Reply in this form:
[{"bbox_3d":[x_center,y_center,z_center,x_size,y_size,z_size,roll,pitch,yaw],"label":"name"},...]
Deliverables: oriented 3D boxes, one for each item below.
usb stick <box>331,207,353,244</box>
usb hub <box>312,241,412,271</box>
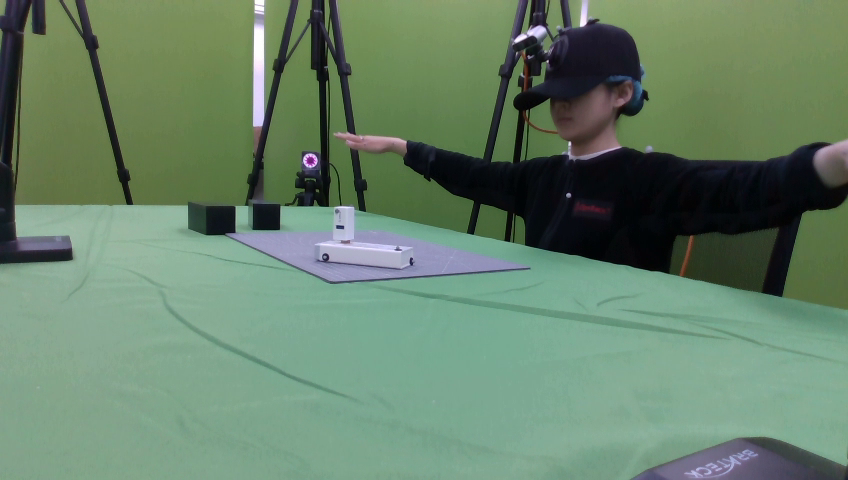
[{"bbox_3d":[-0.110,-0.014,0.812,0.021,0.059,0.027,6,11,16],"label":"usb stick"},{"bbox_3d":[-0.083,0.020,0.803,0.125,0.025,0.049,5,8,17],"label":"usb hub"}]
